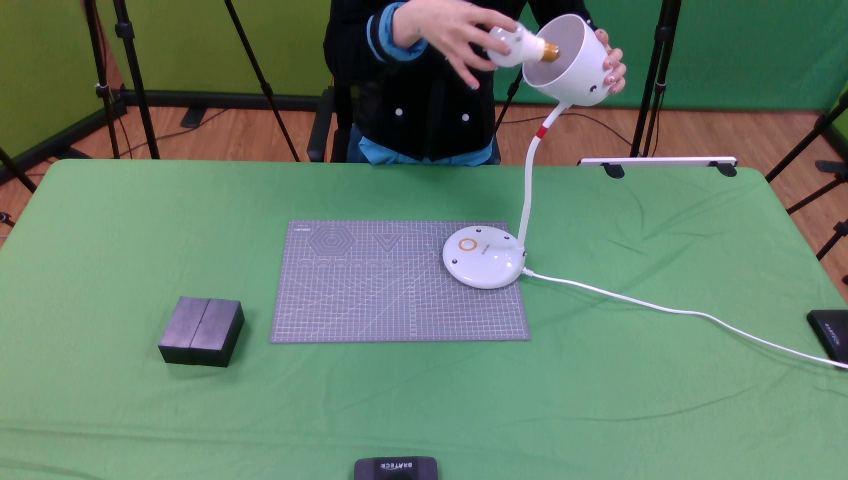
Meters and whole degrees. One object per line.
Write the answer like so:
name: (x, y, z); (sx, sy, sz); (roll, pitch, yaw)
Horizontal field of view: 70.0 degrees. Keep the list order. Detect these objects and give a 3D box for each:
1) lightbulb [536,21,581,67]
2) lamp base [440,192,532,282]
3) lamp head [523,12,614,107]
lightbulb: (0.206, -0.267, 0.866); (0.108, 0.059, 0.059); (30, 36, -31)
lamp base: (0.127, -0.032, 1.123); (0.179, 0.181, 0.159); (11, 47, 2)
lamp head: (0.219, -0.248, 0.885); (0.112, 0.123, 0.111); (-25, 47, 30)
